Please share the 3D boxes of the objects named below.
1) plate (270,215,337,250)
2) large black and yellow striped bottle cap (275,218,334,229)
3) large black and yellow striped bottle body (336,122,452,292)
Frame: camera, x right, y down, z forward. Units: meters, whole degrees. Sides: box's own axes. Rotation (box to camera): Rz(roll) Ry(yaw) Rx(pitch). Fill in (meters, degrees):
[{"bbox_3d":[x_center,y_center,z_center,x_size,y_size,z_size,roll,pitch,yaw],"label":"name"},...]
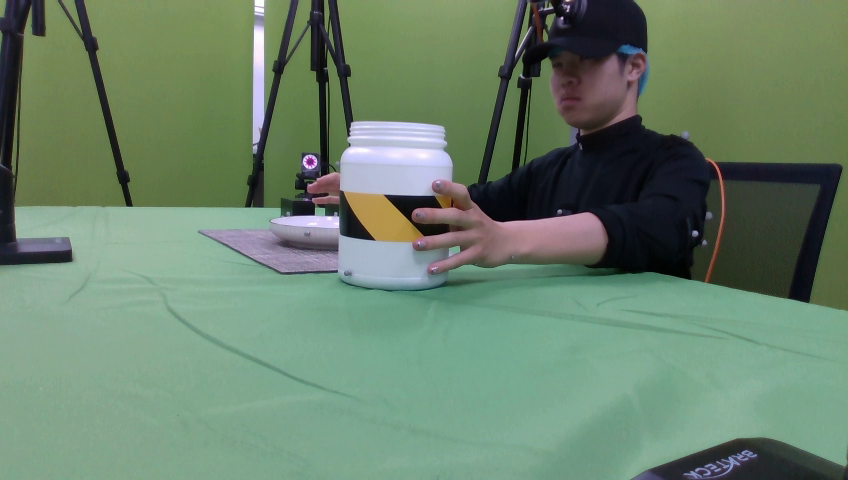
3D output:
[{"bbox_3d":[-0.145,-0.013,0.991,0.208,0.039,0.207,2,7,0],"label":"plate"},{"bbox_3d":[-0.236,-0.033,1.197,0.115,0.019,0.115,2,3,0],"label":"large black and yellow striped bottle cap"},{"bbox_3d":[-0.035,-0.041,0.703,0.131,0.184,0.130,3,7,0],"label":"large black and yellow striped bottle body"}]
